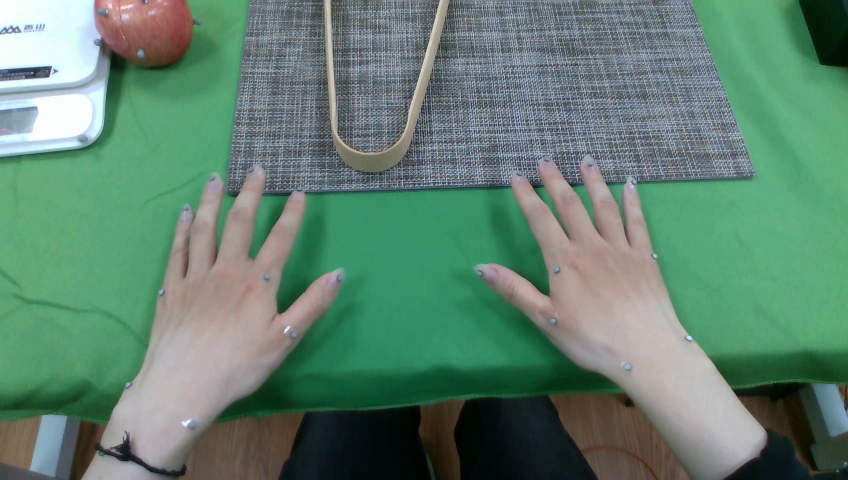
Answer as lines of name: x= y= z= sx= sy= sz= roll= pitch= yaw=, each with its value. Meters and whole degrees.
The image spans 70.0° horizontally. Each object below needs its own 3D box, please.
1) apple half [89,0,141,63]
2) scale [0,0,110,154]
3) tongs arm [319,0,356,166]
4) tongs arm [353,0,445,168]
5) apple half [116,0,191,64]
apple half: x=-0.278 y=-0.195 z=0.541 sx=0.033 sy=0.082 sz=0.080 roll=-10 pitch=62 yaw=-10
scale: x=-0.363 y=-0.165 z=0.547 sx=0.149 sy=0.032 sz=0.199 roll=-7 pitch=63 yaw=-5
tongs arm: x=-0.089 y=-0.236 z=0.591 sx=0.028 sy=0.028 sz=0.384 roll=-2 pitch=62 yaw=-7
tongs arm: x=-0.004 y=-0.231 z=0.589 sx=0.051 sy=0.027 sz=0.382 roll=9 pitch=62 yaw=2
apple half: x=-0.240 y=-0.203 z=0.548 sx=0.053 sy=0.075 sz=0.080 roll=-10 pitch=59 yaw=-10
